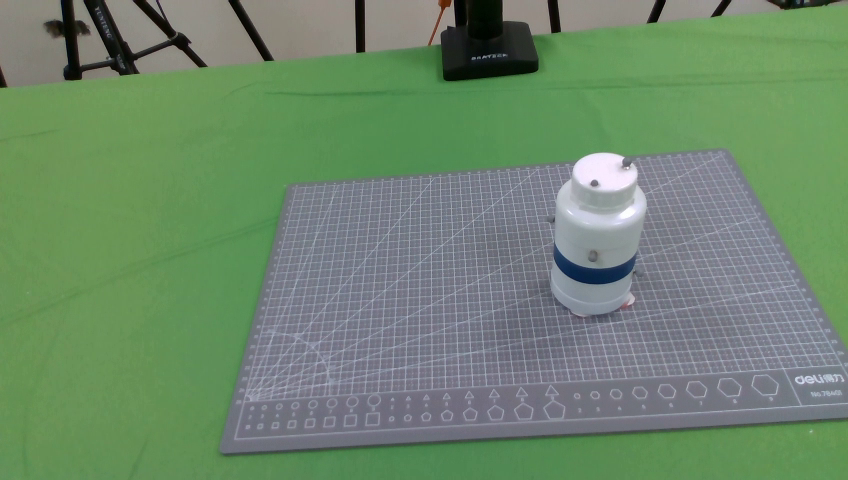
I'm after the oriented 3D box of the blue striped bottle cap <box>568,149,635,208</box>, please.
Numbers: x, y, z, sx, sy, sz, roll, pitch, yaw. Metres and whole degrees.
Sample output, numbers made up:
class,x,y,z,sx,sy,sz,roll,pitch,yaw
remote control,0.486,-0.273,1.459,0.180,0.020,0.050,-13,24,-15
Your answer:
class,x,y,z,sx,sy,sz,roll,pitch,yaw
blue striped bottle cap,0.123,-0.043,0.420,0.044,0.021,0.044,-3,45,3

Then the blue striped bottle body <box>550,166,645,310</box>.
class,x,y,z,sx,sy,sz,roll,pitch,yaw
blue striped bottle body,0.129,-0.007,0.456,0.063,0.122,0.062,-4,45,4
